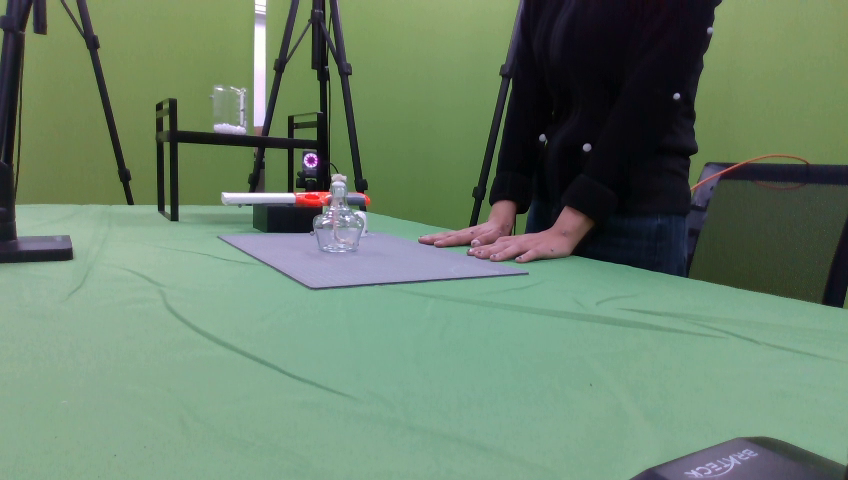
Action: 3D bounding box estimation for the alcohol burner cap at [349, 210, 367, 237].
[{"bbox_3d":[-0.118,-0.030,1.095,0.034,0.048,0.034,2,8,0],"label":"alcohol burner cap"}]

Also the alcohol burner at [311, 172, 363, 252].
[{"bbox_3d":[-0.130,-0.042,0.906,0.078,0.119,0.078,2,6,0],"label":"alcohol burner"}]

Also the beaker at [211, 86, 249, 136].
[{"bbox_3d":[-0.413,-0.274,1.297,0.074,0.100,0.083,-5,11,-44],"label":"beaker"}]

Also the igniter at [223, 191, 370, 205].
[{"bbox_3d":[-0.239,-0.080,1.159,0.278,0.025,0.057,-2,20,-26],"label":"igniter"}]
